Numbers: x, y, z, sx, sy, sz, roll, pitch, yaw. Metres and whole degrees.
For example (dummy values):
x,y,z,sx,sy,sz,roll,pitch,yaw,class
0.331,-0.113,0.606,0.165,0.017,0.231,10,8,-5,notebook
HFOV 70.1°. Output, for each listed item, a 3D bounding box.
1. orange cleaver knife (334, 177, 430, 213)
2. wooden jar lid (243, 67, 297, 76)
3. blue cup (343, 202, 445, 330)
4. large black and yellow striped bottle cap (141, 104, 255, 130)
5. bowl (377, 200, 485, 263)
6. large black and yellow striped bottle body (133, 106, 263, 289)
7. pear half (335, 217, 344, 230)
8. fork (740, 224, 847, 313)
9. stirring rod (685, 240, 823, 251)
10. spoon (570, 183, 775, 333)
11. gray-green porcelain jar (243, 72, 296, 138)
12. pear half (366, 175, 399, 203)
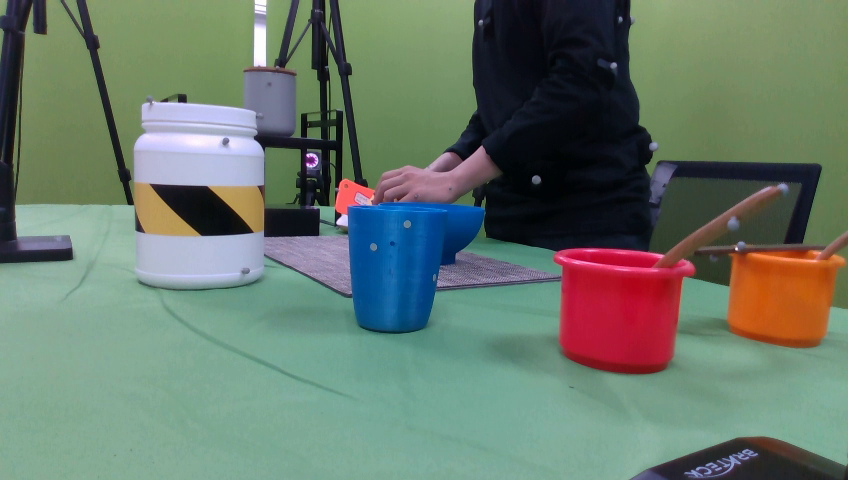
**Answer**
x,y,z,sx,sy,sz,roll,pitch,yaw,class
-0.074,-0.069,1.134,0.212,0.077,0.012,7,-19,-37,orange cleaver knife
-0.319,-0.342,1.254,0.108,0.020,0.108,3,8,0,wooden jar lid
-0.027,0.021,0.510,0.093,0.100,0.092,3,5,0,blue cup
-0.241,-0.131,0.650,0.115,0.019,0.115,4,8,0,large black and yellow striped bottle cap
0.008,-0.012,0.842,0.151,0.077,0.151,3,7,0,bowl
-0.243,-0.048,0.659,0.131,0.184,0.130,2,7,0,large black and yellow striped bottle body
-0.137,-0.034,1.175,0.071,0.031,0.087,-16,5,-23,pear half
0.323,0.013,0.485,0.028,0.018,0.207,9,-38,-5,fork
0.289,0.005,0.525,0.177,0.006,0.014,-1,7,-26,stirring rod
0.159,0.020,0.413,0.042,0.021,0.193,0,-36,-24,spoon
-0.322,-0.279,1.263,0.106,0.126,0.106,3,8,0,gray-green porcelain jar
-0.066,-0.060,1.075,0.055,0.110,0.077,10,14,40,pear half
